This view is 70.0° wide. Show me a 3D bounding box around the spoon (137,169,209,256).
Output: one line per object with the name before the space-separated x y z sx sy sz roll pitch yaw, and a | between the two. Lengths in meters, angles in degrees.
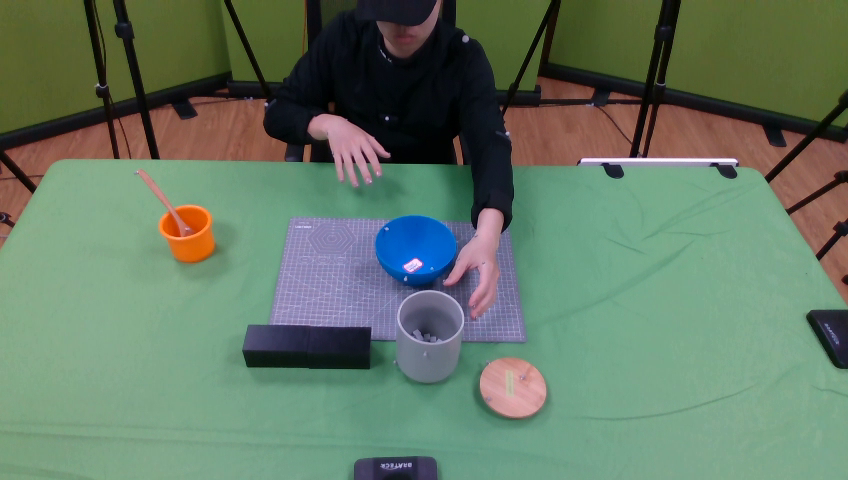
spoon | -0.466 -0.051 1.123 0.041 0.194 0.021 -40 17 -33

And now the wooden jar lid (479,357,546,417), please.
wooden jar lid | 0.142 0.240 0.979 0.108 0.021 0.107 1 46 -1

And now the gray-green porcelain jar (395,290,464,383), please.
gray-green porcelain jar | 0.006 0.160 0.972 0.106 0.127 0.105 2 46 -2

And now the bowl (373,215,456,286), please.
bowl | -0.019 0.032 1.122 0.151 0.077 0.150 2 46 -2
